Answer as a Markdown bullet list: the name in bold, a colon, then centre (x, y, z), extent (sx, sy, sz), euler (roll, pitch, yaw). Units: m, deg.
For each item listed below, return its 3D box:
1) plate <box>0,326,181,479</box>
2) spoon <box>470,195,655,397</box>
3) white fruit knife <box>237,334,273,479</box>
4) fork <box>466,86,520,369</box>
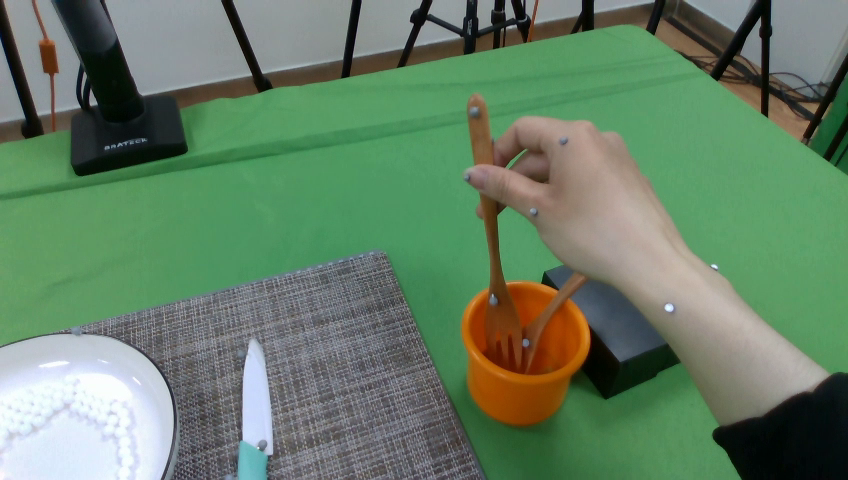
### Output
- **plate**: centre (-0.267, 0.151, 0.405), extent (0.209, 0.038, 0.207), euler (1, 45, 0)
- **spoon**: centre (0.102, 0.042, 0.447), extent (0.022, 0.194, 0.041), euler (21, 22, -48)
- **white fruit knife**: centre (-0.120, 0.147, 0.429), extent (0.027, 0.016, 0.205), euler (16, 35, -29)
- **fork**: centre (0.046, 0.000, 0.414), extent (0.028, 0.209, 0.018), euler (-5, 26, 9)
